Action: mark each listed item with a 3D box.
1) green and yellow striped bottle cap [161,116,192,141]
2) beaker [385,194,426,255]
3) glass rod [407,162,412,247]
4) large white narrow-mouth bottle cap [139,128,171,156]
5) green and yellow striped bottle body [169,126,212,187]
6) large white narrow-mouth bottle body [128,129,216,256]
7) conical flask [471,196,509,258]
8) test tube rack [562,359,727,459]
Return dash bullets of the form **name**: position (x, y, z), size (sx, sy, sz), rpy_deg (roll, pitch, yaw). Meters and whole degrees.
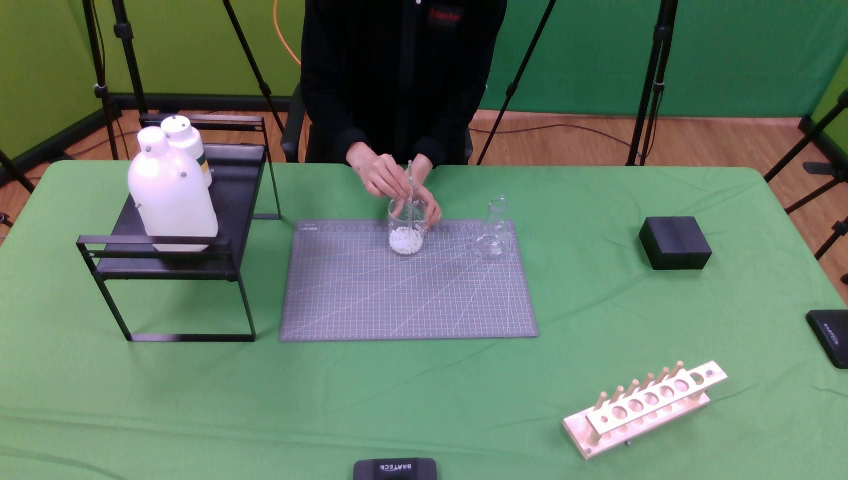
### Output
- **green and yellow striped bottle cap**: position (-0.387, -0.174, 0.946), size (0.045, 0.020, 0.045), rpy_deg (3, 44, -3)
- **beaker**: position (-0.033, -0.026, 1.162), size (0.083, 0.101, 0.074), rpy_deg (29, 52, 21)
- **glass rod**: position (-0.026, -0.059, 1.106), size (0.008, 0.201, 0.008), rpy_deg (0, 43, 0)
- **large white narrow-mouth bottle cap**: position (-0.358, -0.131, 0.808), size (0.038, 0.024, 0.037), rpy_deg (3, 47, -3)
- **green and yellow striped bottle body**: position (-0.389, -0.139, 0.984), size (0.063, 0.120, 0.063), rpy_deg (2, 46, -2)
- **large white narrow-mouth bottle body**: position (-0.366, -0.073, 0.872), size (0.102, 0.195, 0.101), rpy_deg (3, 47, -3)
- **conical flask**: position (0.133, -0.028, 1.160), size (0.075, 0.122, 0.075), rpy_deg (2, 46, -2)
- **test tube rack**: position (0.341, 0.247, 0.940), size (0.243, 0.085, 0.066), rpy_deg (-16, 49, -18)
